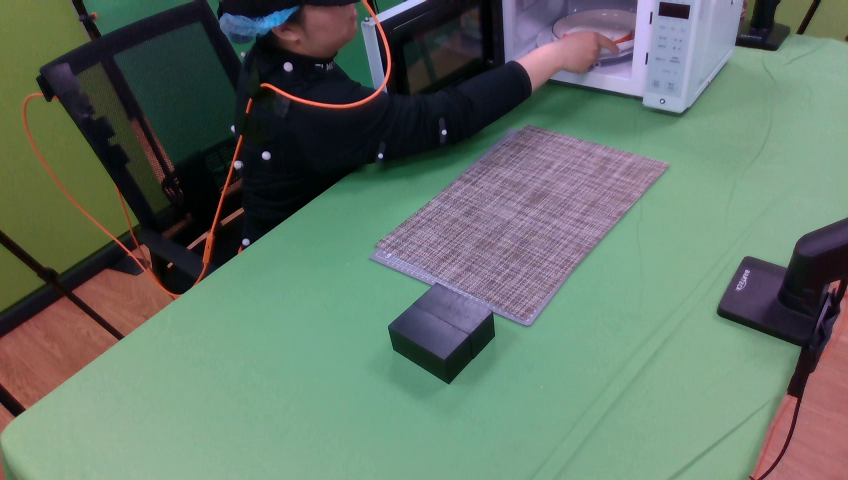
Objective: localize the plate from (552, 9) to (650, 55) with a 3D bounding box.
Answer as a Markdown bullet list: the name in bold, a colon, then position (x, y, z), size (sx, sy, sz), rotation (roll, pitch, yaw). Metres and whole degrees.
- **plate**: position (0.390, -0.456, 1.336), size (0.209, 0.038, 0.208), rotation (-6, 38, 6)

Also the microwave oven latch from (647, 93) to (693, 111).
- **microwave oven latch**: position (0.477, -0.273, 1.177), size (0.078, 0.029, 0.030), rotation (22, 50, 33)

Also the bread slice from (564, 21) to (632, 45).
- **bread slice**: position (0.393, -0.454, 1.342), size (0.105, 0.019, 0.130), rotation (-36, 44, -27)

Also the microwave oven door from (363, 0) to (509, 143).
- **microwave oven door**: position (0.040, -0.386, 1.238), size (0.357, 0.245, 0.039), rotation (-36, 47, -28)

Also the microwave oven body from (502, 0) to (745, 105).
- **microwave oven body**: position (0.416, -0.486, 1.290), size (0.438, 0.261, 0.327), rotation (21, 50, 33)
